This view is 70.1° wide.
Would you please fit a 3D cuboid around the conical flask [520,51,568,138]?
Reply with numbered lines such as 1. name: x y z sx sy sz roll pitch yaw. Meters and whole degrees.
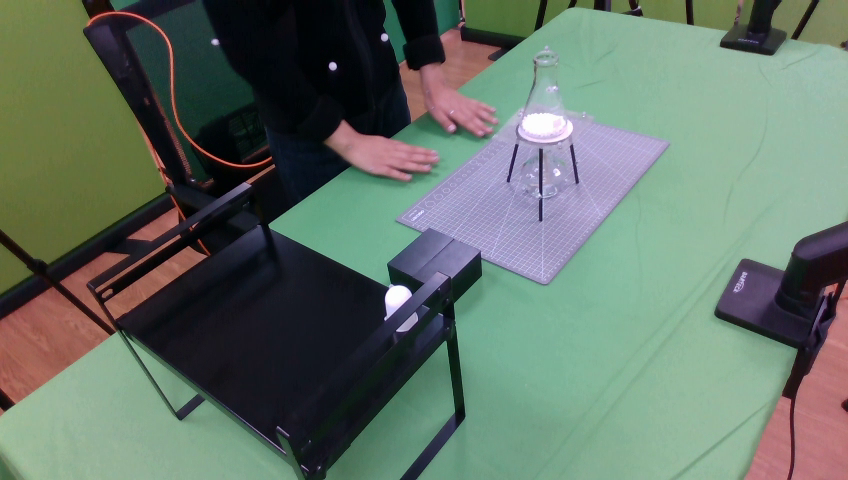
1. conical flask: 0.185 -0.223 0.926 0.075 0.122 0.075 -4 41 4

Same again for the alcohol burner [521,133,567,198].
1. alcohol burner: 0.204 -0.131 1.023 0.078 0.119 0.077 -5 42 5

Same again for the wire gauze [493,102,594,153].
1. wire gauze: 0.191 -0.179 0.965 0.120 0.011 0.125 18 49 29

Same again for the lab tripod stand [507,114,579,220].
1. lab tripod stand: 0.199 -0.128 1.005 0.148 0.132 0.147 -3 42 3

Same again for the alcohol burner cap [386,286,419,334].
1. alcohol burner cap: -0.024 0.067 0.604 0.034 0.048 0.033 -4 40 4
